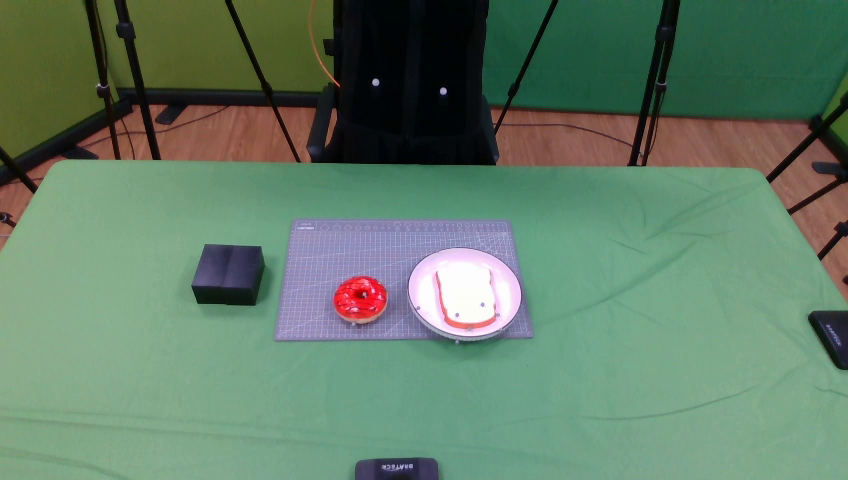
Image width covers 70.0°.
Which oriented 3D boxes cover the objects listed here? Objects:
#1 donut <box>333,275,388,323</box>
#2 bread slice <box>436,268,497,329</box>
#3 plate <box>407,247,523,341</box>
[{"bbox_3d":[-0.112,0.103,1.072,0.099,0.048,0.098,0,46,0],"label":"donut"},{"bbox_3d":[0.081,0.103,1.091,0.105,0.019,0.130,-3,46,-5],"label":"bread slice"},{"bbox_3d":[0.073,0.098,1.093,0.209,0.038,0.208,2,46,-2],"label":"plate"}]
